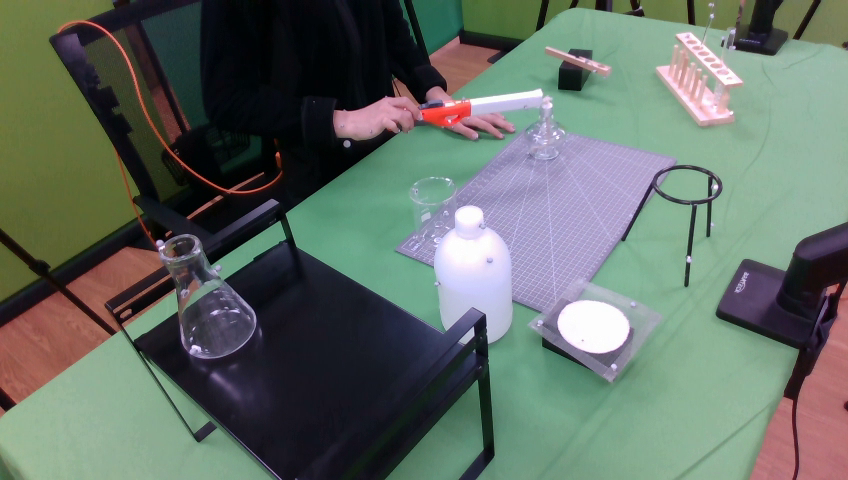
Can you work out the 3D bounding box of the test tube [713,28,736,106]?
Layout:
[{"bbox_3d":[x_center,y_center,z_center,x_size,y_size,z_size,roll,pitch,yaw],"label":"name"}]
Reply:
[{"bbox_3d":[0.570,-0.325,1.149,0.017,0.151,0.017,-4,36,4],"label":"test tube"}]

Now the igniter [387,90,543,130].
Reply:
[{"bbox_3d":[0.071,-0.228,1.056,0.277,0.057,0.025,-10,54,-5],"label":"igniter"}]

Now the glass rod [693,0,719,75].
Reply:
[{"bbox_3d":[0.561,-0.401,1.214,0.008,0.200,0.008,-1,48,2],"label":"glass rod"}]

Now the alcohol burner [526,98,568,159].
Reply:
[{"bbox_3d":[0.228,-0.210,1.118,0.078,0.119,0.077,-5,43,5],"label":"alcohol burner"}]

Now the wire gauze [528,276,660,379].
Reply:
[{"bbox_3d":[0.214,0.103,0.763,0.124,0.011,0.122,30,52,35],"label":"wire gauze"}]

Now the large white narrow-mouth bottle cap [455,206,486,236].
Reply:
[{"bbox_3d":[0.057,-0.023,0.734,0.038,0.024,0.037,-4,40,4],"label":"large white narrow-mouth bottle cap"}]

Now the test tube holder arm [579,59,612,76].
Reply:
[{"bbox_3d":[0.363,-0.368,1.289,0.010,0.015,0.087,-27,43,-29],"label":"test tube holder arm"}]

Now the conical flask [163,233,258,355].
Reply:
[{"bbox_3d":[-0.217,0.051,0.601,0.075,0.122,0.075,-4,40,4],"label":"conical flask"}]

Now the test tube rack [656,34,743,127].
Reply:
[{"bbox_3d":[0.553,-0.330,1.233,0.067,0.085,0.241,-7,40,2],"label":"test tube rack"}]

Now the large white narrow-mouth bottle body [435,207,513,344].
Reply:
[{"bbox_3d":[0.065,0.041,0.791,0.102,0.195,0.101,-4,41,4],"label":"large white narrow-mouth bottle body"}]

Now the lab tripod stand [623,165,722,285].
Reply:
[{"bbox_3d":[0.365,-0.030,0.875,0.148,0.132,0.147,-6,41,6],"label":"lab tripod stand"}]

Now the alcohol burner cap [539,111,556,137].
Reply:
[{"bbox_3d":[0.244,-0.232,1.197,0.034,0.048,0.033,-5,40,4],"label":"alcohol burner cap"}]

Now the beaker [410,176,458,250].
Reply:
[{"bbox_3d":[0.022,-0.041,0.963,0.073,0.101,0.084,28,51,35],"label":"beaker"}]

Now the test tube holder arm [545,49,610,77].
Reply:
[{"bbox_3d":[0.331,-0.387,1.315,0.013,0.015,0.177,-26,43,-29],"label":"test tube holder arm"}]
